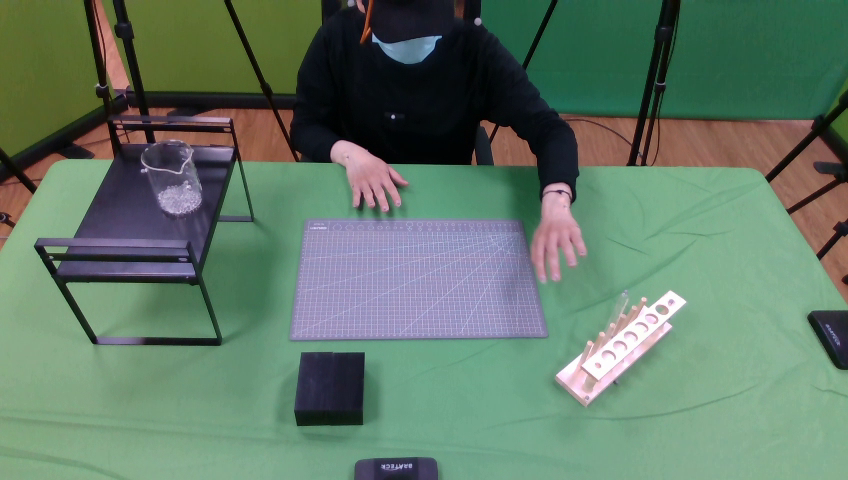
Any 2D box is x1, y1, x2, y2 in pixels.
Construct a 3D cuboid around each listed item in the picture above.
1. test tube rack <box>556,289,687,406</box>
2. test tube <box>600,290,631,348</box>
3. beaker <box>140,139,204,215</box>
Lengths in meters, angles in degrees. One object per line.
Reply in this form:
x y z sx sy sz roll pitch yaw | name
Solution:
0.332 0.166 1.014 0.242 0.085 0.066 -30 55 -28 | test tube rack
0.308 0.131 0.983 0.017 0.151 0.017 1 48 -1 | test tube
-0.391 -0.095 0.954 0.074 0.101 0.083 -30 56 -27 | beaker
